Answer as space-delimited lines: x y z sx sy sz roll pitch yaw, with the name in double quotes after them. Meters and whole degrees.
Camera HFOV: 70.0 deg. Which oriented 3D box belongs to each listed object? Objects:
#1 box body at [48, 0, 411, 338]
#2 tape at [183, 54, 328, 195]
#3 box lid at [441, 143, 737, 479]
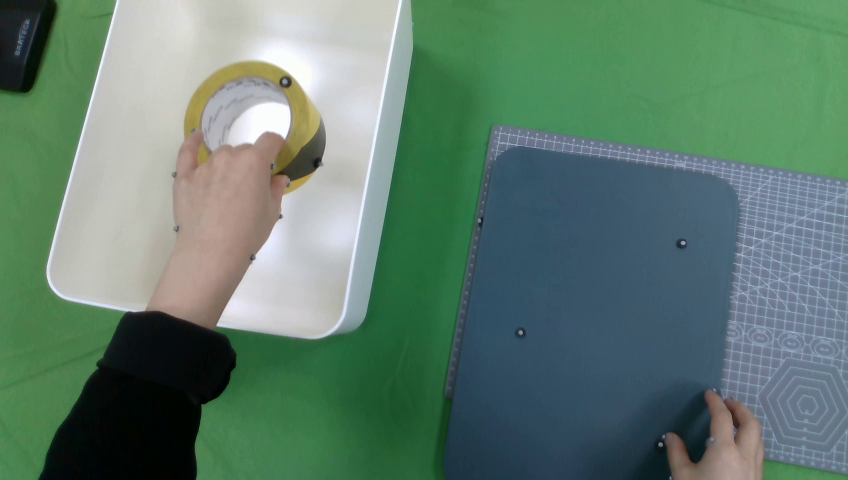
-0.160 -0.100 0.594 0.254 0.161 0.363 8 82 4 "box body"
-0.147 -0.099 0.536 0.117 0.053 0.116 -1 81 6 "tape"
0.173 0.088 0.624 0.263 0.015 0.370 9 82 4 "box lid"
